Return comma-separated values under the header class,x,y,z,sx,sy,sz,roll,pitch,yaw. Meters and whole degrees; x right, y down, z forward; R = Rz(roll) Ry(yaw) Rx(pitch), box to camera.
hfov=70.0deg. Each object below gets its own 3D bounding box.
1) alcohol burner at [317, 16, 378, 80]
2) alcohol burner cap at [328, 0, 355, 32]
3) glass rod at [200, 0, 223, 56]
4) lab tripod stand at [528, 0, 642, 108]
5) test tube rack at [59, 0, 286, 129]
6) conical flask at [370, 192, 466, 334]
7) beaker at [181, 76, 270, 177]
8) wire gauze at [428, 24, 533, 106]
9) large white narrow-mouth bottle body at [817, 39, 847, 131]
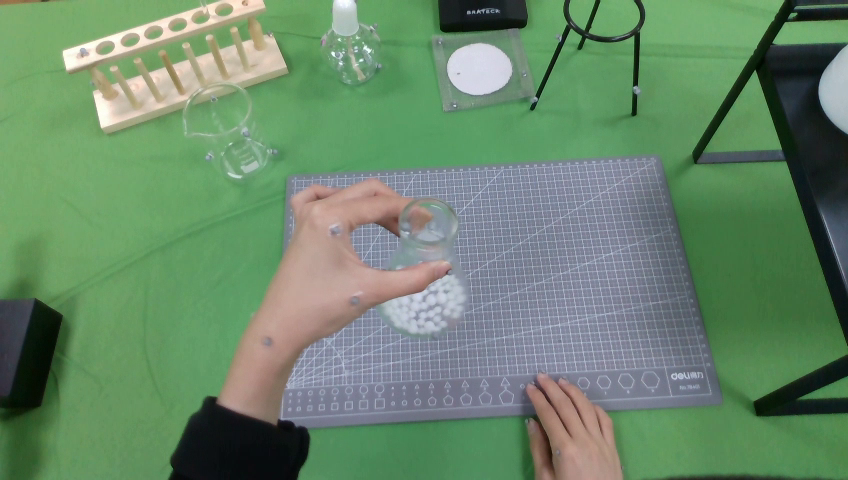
class,x,y,z,sx,sy,sz,roll,pitch,yaw
alcohol burner,-0.097,-0.259,0.754,0.078,0.120,0.077,0,62,1
alcohol burner cap,-0.098,-0.277,0.722,0.034,0.048,0.033,4,63,-7
glass rod,-0.263,-0.291,0.714,0.008,0.201,0.008,2,62,-3
lab tripod stand,0.200,-0.231,0.722,0.148,0.132,0.147,0,63,0
test tube rack,-0.308,-0.228,0.759,0.242,0.086,0.066,-22,66,-9
conical flask,-0.001,0.013,0.427,0.075,0.123,0.074,2,62,-3
beaker,-0.227,-0.125,0.701,0.073,0.101,0.084,41,72,19
wire gauze,0.073,-0.235,0.796,0.121,0.011,0.124,-7,64,-3
large white narrow-mouth bottle body,0.395,-0.168,0.455,0.102,0.196,0.101,0,63,1
